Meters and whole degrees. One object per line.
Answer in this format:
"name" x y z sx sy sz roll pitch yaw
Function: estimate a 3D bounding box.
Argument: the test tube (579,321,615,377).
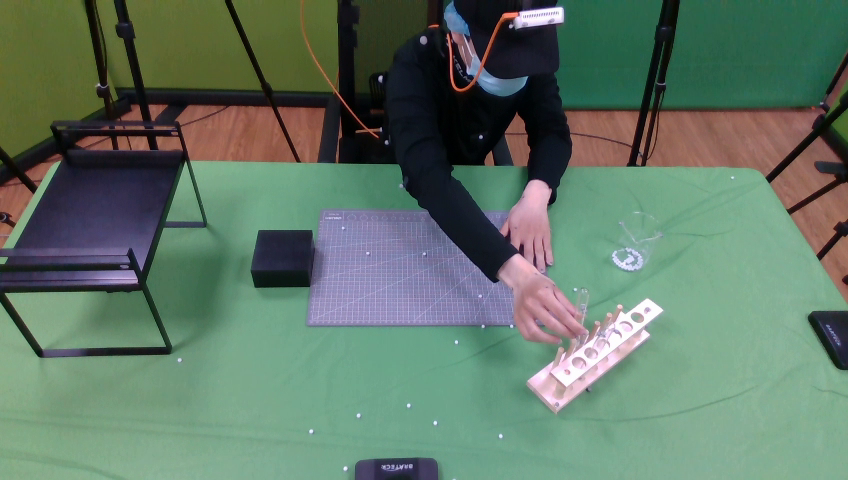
"test tube" 0.266 0.172 0.941 0.017 0.151 0.017 4 49 -4

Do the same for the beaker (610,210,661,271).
"beaker" 0.405 0.006 1.169 0.074 0.101 0.083 19 49 15

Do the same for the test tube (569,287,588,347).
"test tube" 0.234 0.118 0.919 0.017 0.151 0.017 -4 49 4

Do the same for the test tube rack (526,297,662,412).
"test tube rack" 0.284 0.176 1.007 0.242 0.085 0.066 -29 54 -27
